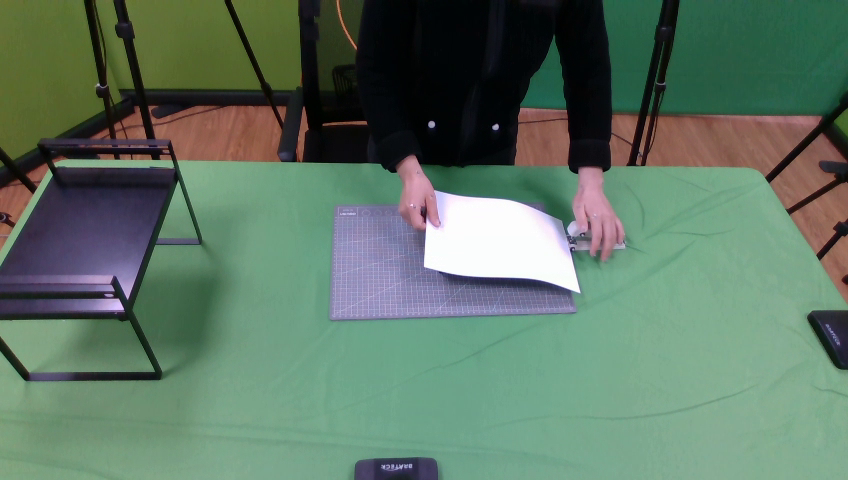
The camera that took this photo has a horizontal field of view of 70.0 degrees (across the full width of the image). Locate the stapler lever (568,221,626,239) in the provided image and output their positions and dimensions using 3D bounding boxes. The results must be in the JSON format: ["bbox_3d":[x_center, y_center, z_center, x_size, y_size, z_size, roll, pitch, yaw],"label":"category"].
[{"bbox_3d":[0.345,-0.019,1.206,0.118,0.040,0.026,-2,50,-6],"label":"stapler lever"}]

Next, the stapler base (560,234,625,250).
[{"bbox_3d":[0.343,-0.003,1.224,0.131,0.024,0.041,-1,50,-7],"label":"stapler base"}]
